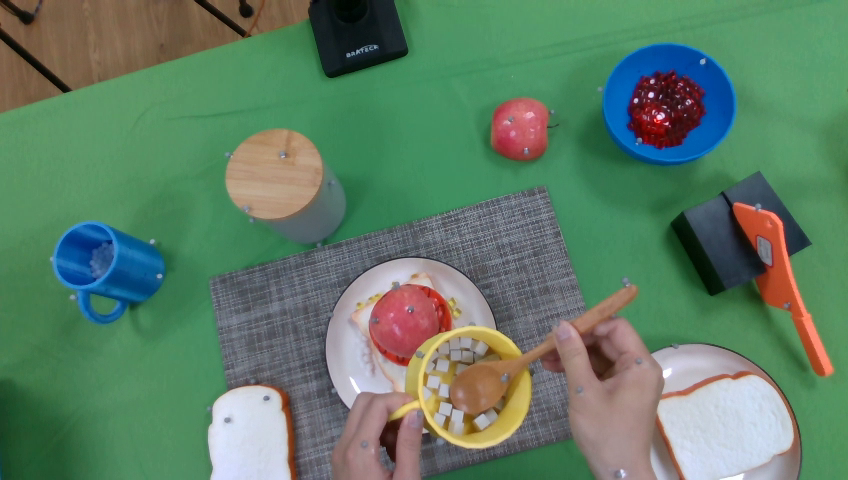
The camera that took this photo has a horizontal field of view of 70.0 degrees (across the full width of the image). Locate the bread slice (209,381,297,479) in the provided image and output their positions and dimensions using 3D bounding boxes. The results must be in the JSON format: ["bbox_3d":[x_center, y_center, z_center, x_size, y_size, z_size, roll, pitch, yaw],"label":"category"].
[{"bbox_3d":[-0.209,0.237,0.727,0.105,0.019,0.131,-8,78,3],"label":"bread slice"}]

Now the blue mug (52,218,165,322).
[{"bbox_3d":[-0.388,0.043,0.747,0.082,0.106,0.116,5,77,7],"label":"blue mug"}]

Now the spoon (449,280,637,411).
[{"bbox_3d":[0.094,0.090,0.503,0.194,0.021,0.041,-39,84,30],"label":"spoon"}]

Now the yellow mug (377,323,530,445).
[{"bbox_3d":[0.021,0.130,0.530,0.131,0.064,0.099,-18,83,-14],"label":"yellow mug"}]

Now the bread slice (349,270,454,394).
[{"bbox_3d":[-0.011,0.116,0.724,0.107,0.018,0.133,-32,75,-1],"label":"bread slice"}]

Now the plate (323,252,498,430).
[{"bbox_3d":[-0.016,0.118,0.723,0.207,0.039,0.206,-1,77,6],"label":"plate"}]

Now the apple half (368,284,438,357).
[{"bbox_3d":[-0.025,0.087,0.664,0.081,0.033,0.081,-3,75,13],"label":"apple half"}]

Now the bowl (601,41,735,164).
[{"bbox_3d":[0.285,-0.154,0.737,0.151,0.077,0.150,-1,77,6],"label":"bowl"}]

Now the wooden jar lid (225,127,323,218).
[{"bbox_3d":[-0.165,-0.074,0.675,0.108,0.021,0.108,-1,74,4],"label":"wooden jar lid"}]

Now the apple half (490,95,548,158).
[{"bbox_3d":[0.120,-0.149,0.767,0.074,0.053,0.080,6,78,10],"label":"apple half"}]

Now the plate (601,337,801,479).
[{"bbox_3d":[0.300,0.215,0.671,0.209,0.038,0.208,-1,77,6],"label":"plate"}]

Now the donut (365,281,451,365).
[{"bbox_3d":[-0.018,0.095,0.700,0.099,0.048,0.098,-1,78,6],"label":"donut"}]

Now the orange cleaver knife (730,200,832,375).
[{"bbox_3d":[0.396,0.052,0.677,0.012,0.077,0.212,-26,97,-8],"label":"orange cleaver knife"}]

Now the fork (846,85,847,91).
[{"bbox_3d":[0.519,-0.123,0.670,0.209,0.018,0.028,24,76,-32],"label":"fork"}]

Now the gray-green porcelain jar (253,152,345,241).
[{"bbox_3d":[-0.157,-0.059,0.737,0.106,0.127,0.105,-1,76,6],"label":"gray-green porcelain jar"}]
